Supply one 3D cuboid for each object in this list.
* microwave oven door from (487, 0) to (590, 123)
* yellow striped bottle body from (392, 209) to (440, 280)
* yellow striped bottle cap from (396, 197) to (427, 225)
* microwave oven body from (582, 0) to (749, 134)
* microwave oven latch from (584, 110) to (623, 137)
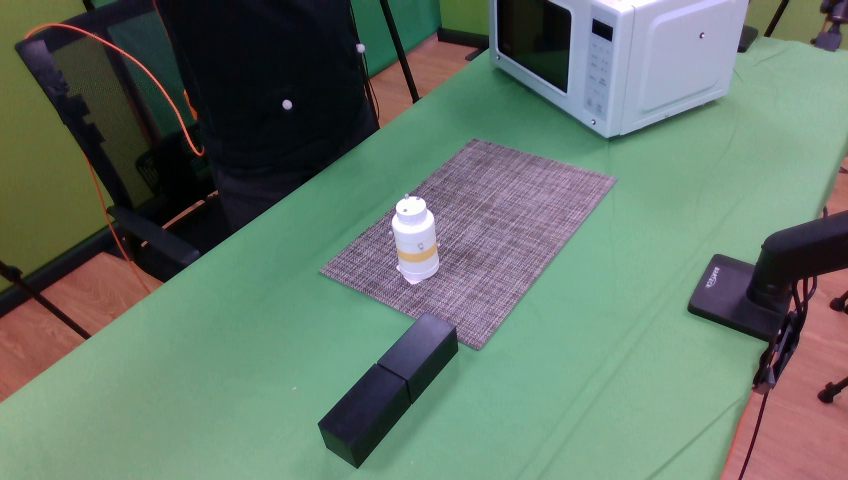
[{"bbox_3d":[0.231,-0.420,1.231,0.039,0.245,0.352,-22,43,-16],"label":"microwave oven door"},{"bbox_3d":[-0.013,-0.003,0.892,0.063,0.121,0.062,-4,41,4],"label":"yellow striped bottle body"},{"bbox_3d":[-0.018,-0.042,0.858,0.044,0.019,0.044,-4,39,3],"label":"yellow striped bottle cap"},{"bbox_3d":[0.382,-0.444,1.246,0.327,0.261,0.437,-22,42,-16],"label":"microwave oven body"},{"bbox_3d":[0.337,-0.222,1.142,0.030,0.029,0.078,-21,42,-14],"label":"microwave oven latch"}]
